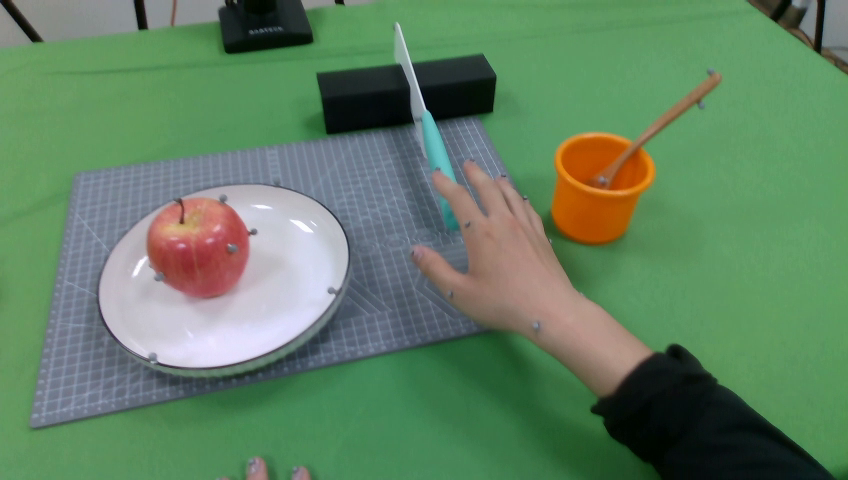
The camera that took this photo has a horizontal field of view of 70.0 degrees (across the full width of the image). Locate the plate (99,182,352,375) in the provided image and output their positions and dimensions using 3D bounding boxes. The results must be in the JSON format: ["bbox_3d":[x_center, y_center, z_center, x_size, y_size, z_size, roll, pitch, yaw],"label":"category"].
[{"bbox_3d":[-0.167,0.030,0.529,0.209,0.038,0.207,1,47,-1],"label":"plate"}]

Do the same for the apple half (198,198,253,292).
[{"bbox_3d":[-0.162,0.005,0.516,0.033,0.082,0.080,-5,47,2],"label":"apple half"}]

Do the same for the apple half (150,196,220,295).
[{"bbox_3d":[-0.201,0.006,0.515,0.053,0.075,0.080,-3,50,2],"label":"apple half"}]

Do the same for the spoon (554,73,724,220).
[{"bbox_3d":[0.202,-0.087,0.576,0.022,0.194,0.041,26,28,-41],"label":"spoon"}]

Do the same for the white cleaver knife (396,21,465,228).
[{"bbox_3d":[0.002,-0.130,0.661,0.021,0.066,0.283,-9,58,-7],"label":"white cleaver knife"}]
